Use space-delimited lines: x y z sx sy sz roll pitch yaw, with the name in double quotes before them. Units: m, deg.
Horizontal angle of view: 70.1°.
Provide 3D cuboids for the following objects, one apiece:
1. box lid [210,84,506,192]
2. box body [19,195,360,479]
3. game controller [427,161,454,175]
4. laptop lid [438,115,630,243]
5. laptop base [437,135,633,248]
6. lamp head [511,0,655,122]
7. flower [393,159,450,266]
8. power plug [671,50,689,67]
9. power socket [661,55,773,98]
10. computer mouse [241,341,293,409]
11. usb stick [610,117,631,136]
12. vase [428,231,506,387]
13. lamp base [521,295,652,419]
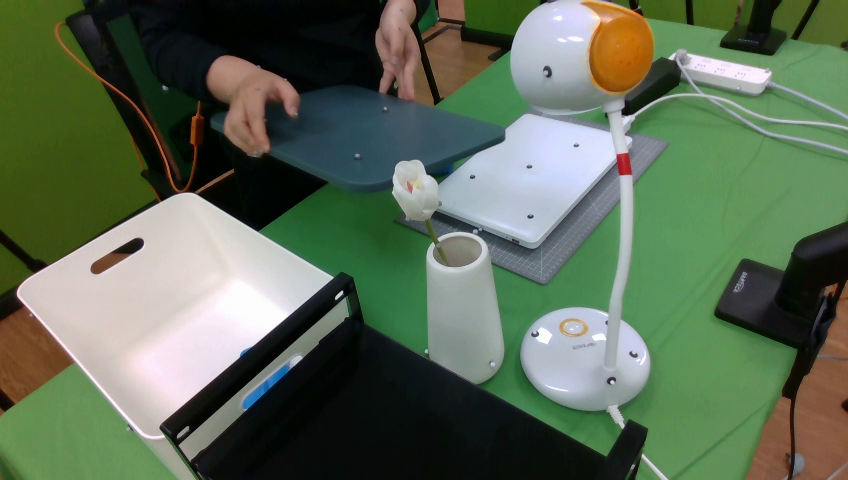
"box lid" -0.098 -0.154 0.836 0.265 0.015 0.368 -27 38 -37
"box body" -0.288 0.118 0.772 0.361 0.161 0.255 26 50 33
"game controller" 0.028 -0.182 1.169 0.096 0.052 0.155 16 46 17
"laptop lid" 0.189 -0.127 1.081 0.239 0.013 0.358 23 49 35
"laptop base" 0.193 -0.118 1.087 0.233 0.023 0.355 20 47 35
"lamp head" 0.155 -0.168 0.563 0.113 0.113 0.122 -18 23 -12
"flower" 0.028 0.036 0.664 0.043 0.364 0.038 35 73 29
"power plug" 0.540 -0.379 1.302 0.073 0.053 0.035 -31 46 -23
"power socket" 0.619 -0.353 1.289 0.225 0.033 0.072 26 51 33
"computer mouse" -0.200 0.177 0.776 0.063 0.041 0.116 -11 43 -8
"usb stick" 0.369 -0.208 1.147 0.021 0.027 0.059 25 55 33
"vase" 0.050 0.087 0.728 0.098 0.201 0.097 -3 40 3
"lamp base" 0.201 0.095 0.710 0.161 0.181 0.178 -16 43 -10
